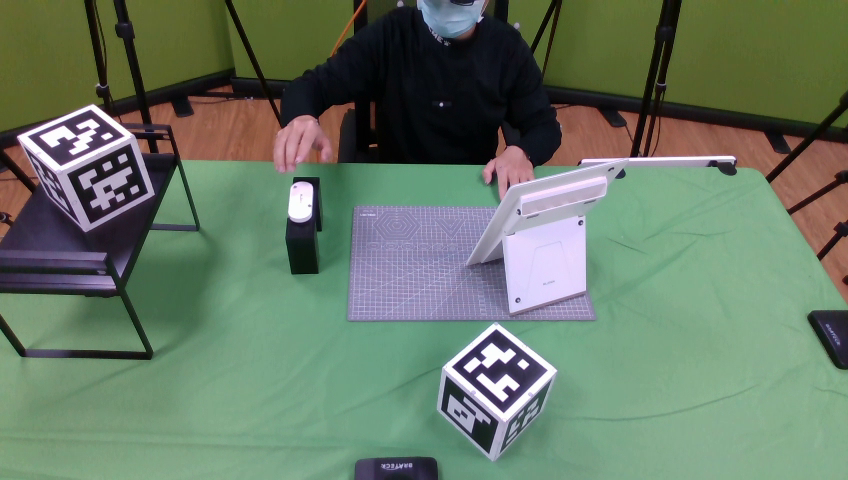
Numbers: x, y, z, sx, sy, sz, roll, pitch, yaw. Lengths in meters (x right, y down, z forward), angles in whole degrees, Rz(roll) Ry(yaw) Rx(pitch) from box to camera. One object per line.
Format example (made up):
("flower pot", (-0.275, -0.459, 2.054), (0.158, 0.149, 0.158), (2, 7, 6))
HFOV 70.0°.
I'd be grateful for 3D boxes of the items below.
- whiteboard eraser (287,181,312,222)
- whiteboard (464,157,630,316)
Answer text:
("whiteboard eraser", (-0.227, -0.071, 1.111), (0.041, 0.019, 0.100), (-2, 46, -4))
("whiteboard", (0.224, 0.015, 1.043), (0.217, 0.306, 0.143), (-14, 68, -17))
